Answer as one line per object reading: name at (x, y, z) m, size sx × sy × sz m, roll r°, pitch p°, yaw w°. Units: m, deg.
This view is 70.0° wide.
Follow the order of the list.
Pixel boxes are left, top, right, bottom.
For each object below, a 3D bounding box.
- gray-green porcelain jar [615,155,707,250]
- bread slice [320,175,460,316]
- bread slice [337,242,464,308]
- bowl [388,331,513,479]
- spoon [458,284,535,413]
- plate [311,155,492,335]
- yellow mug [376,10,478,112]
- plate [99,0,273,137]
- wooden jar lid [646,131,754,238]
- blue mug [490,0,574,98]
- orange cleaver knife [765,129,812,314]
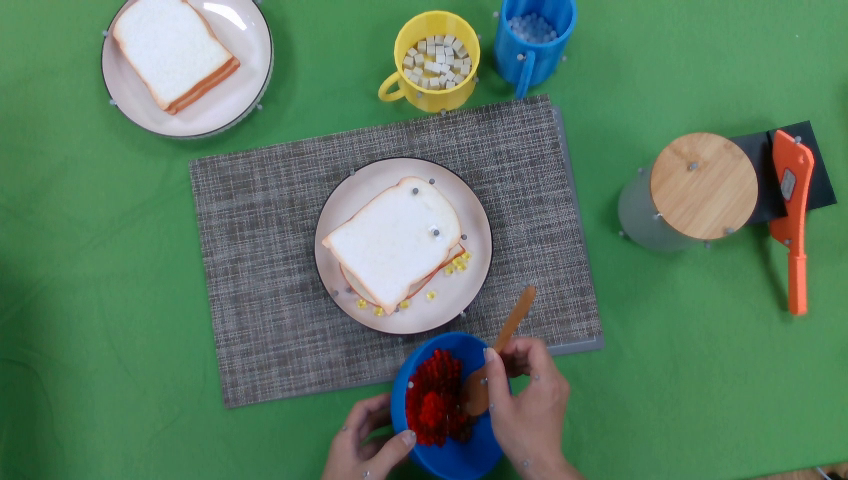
gray-green porcelain jar at (0.276, -0.045, 0.670) m, size 0.106 × 0.127 × 0.105 m, roll 0°, pitch 83°, yaw 0°
bread slice at (-0.029, -0.004, 0.649) m, size 0.107 × 0.018 × 0.134 m, roll 45°, pitch 78°, yaw -1°
bread slice at (-0.034, 0.016, 0.708) m, size 0.131 × 0.019 × 0.104 m, roll -43°, pitch 84°, yaw -6°
bowl at (0.016, 0.177, 0.655) m, size 0.152 × 0.076 × 0.150 m, roll 12°, pitch 70°, yaw -35°
spoon at (0.074, 0.116, 0.627) m, size 0.022 × 0.195 × 0.041 m, roll -17°, pitch 51°, yaw -34°
plate at (-0.026, 0.005, 0.707) m, size 0.209 × 0.038 × 0.208 m, roll 0°, pitch 83°, yaw 0°
yellow mug at (0.000, -0.204, 0.722) m, size 0.131 × 0.064 × 0.099 m, roll -31°, pitch 83°, yaw -2°
plate at (-0.286, -0.224, 0.741) m, size 0.208 × 0.039 × 0.207 m, roll 0°, pitch 83°, yaw 0°
wooden jar lid at (0.275, -0.054, 0.608) m, size 0.108 × 0.021 × 0.108 m, roll 0°, pitch 85°, yaw -2°
blue mug at (0.119, -0.224, 0.704) m, size 0.082 × 0.106 × 0.116 m, roll 11°, pitch 83°, yaw 2°
orange cleaver knife at (0.411, -0.019, 0.688) m, size 0.012 × 0.076 × 0.212 m, roll -12°, pitch 109°, yaw 0°
